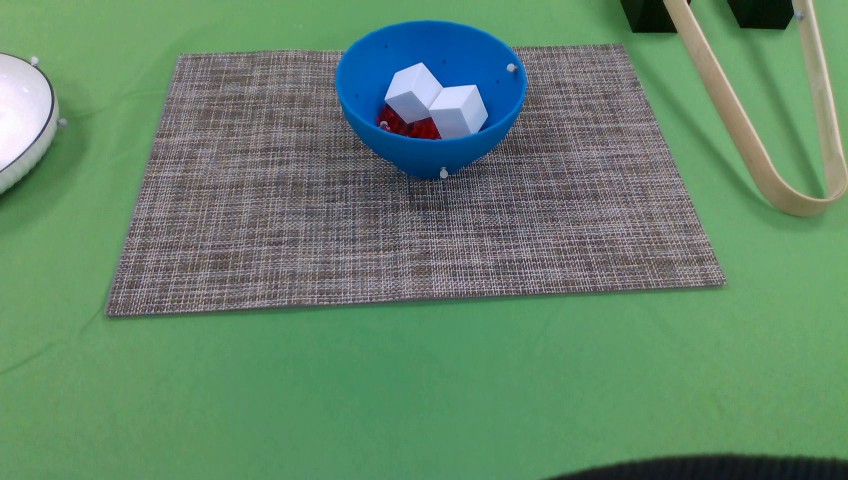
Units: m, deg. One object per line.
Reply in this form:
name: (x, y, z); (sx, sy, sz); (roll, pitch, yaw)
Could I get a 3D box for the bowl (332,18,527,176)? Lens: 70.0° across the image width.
bowl: (0.003, -0.107, 0.501); (0.151, 0.077, 0.150); (1, 52, -1)

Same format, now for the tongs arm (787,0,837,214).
tongs arm: (0.342, -0.197, 0.574); (0.051, 0.027, 0.382); (6, 64, -2)

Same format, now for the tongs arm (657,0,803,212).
tongs arm: (0.253, -0.197, 0.570); (0.028, 0.028, 0.384); (-6, 65, -11)

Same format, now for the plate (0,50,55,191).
plate: (-0.413, -0.083, 0.498); (0.209, 0.038, 0.207); (1, 53, -1)
